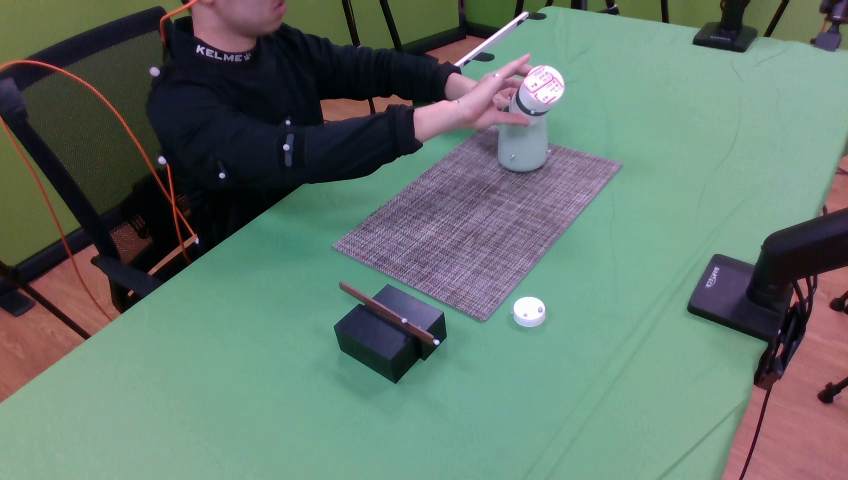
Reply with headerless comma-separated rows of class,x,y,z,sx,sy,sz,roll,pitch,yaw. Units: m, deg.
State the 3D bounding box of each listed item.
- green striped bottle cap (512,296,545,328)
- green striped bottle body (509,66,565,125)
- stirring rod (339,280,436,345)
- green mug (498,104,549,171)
green striped bottle cap,0.144,0.099,0.837,0.044,0.020,0.044,-2,44,2
green striped bottle body,0.178,-0.229,0.984,0.063,0.119,0.063,2,79,-9
stirring rod,-0.052,0.093,0.795,0.174,0.014,0.006,27,47,33
green mug,0.182,-0.197,1.101,0.092,0.105,0.125,3,42,12
